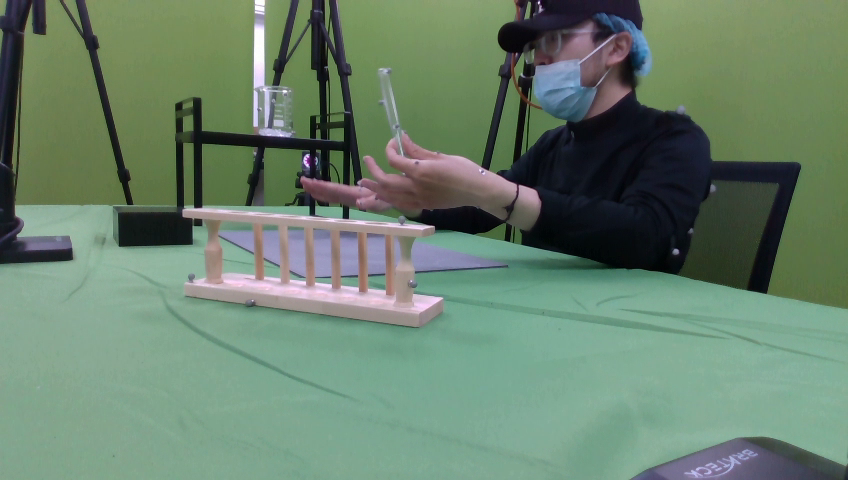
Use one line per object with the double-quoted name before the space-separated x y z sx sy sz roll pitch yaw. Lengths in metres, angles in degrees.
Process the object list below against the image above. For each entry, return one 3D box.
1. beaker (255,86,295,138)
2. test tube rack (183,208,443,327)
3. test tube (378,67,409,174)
"beaker" -0.309 -0.263 1.251 0.084 0.100 0.073 -4 9 -38
"test tube rack" -0.106 0.019 0.570 0.241 0.085 0.067 5 8 19
"test tube" -0.041 -0.165 0.832 0.017 0.150 0.017 -12 -2 0
